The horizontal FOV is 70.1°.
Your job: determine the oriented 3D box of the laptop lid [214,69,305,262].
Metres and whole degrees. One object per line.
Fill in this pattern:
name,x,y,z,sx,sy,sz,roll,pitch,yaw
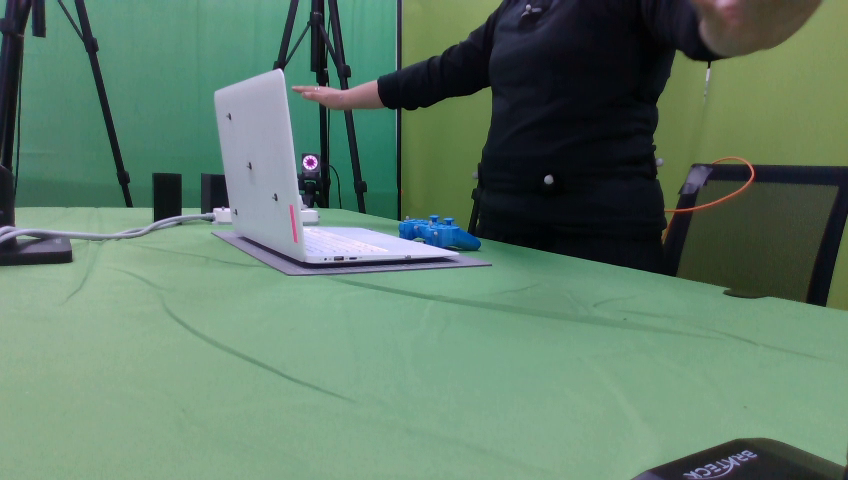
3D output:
laptop lid,-0.246,-0.107,0.865,0.013,0.241,0.355,-11,14,-30

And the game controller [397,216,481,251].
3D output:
game controller,0.020,-0.013,1.053,0.097,0.051,0.154,-4,9,-30

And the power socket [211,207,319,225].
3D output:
power socket,-0.334,-0.051,1.281,0.228,0.032,0.072,-1,9,-29

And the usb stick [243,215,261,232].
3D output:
usb stick,-0.302,-0.029,1.071,0.021,0.027,0.059,0,12,-30

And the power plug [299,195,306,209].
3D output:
power plug,-0.282,-0.075,1.342,0.035,0.052,0.072,0,4,-18

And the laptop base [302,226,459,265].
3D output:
laptop base,-0.136,0.006,0.951,0.237,0.023,0.352,2,6,-32
